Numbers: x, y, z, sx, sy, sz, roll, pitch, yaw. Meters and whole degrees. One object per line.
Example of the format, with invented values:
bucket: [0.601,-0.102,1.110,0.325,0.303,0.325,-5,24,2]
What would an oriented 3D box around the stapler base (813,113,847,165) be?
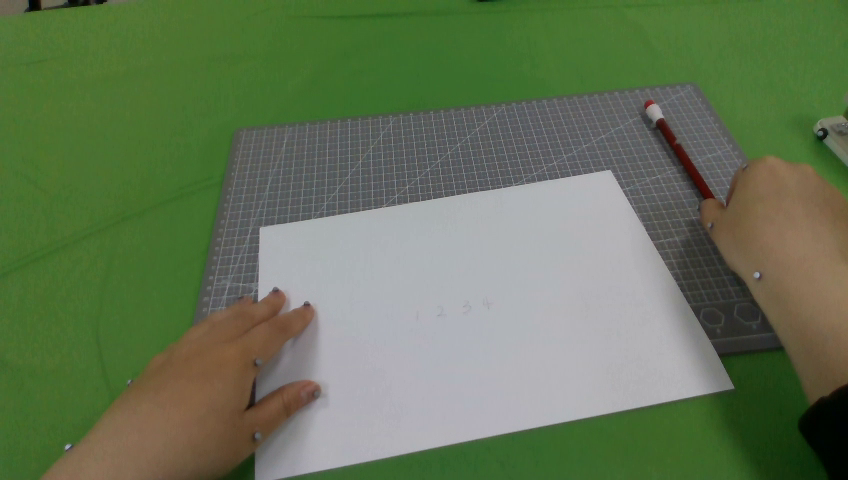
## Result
stapler base: [0.373,-0.068,0.493,0.041,0.025,0.129,-11,50,-2]

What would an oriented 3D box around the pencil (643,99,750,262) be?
pencil: [0.221,-0.056,0.501,0.012,0.012,0.192,-9,50,-3]

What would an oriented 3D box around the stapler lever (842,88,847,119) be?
stapler lever: [0.372,-0.083,0.473,0.027,0.040,0.117,-11,50,-2]
